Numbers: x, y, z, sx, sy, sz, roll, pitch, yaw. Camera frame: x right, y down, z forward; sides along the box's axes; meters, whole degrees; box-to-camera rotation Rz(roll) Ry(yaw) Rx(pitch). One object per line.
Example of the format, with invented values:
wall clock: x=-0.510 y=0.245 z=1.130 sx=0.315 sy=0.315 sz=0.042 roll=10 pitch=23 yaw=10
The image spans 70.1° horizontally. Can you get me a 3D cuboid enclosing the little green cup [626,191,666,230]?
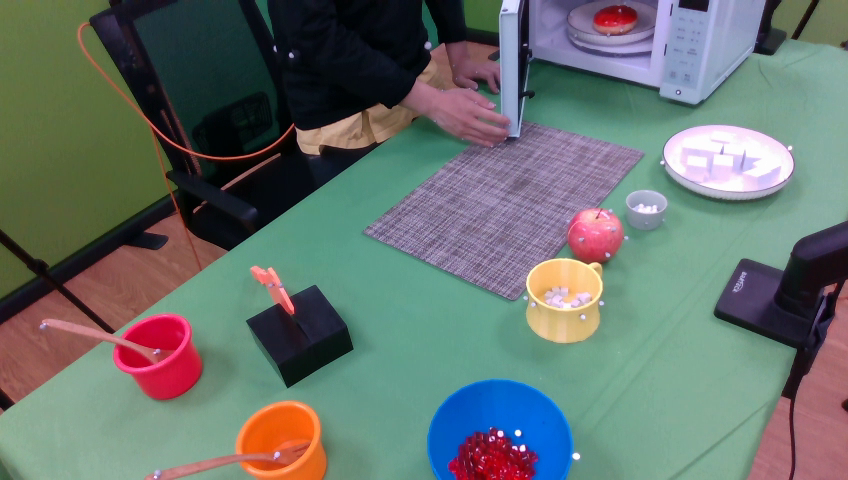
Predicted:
little green cup: x=0.352 y=-0.046 z=0.963 sx=0.061 sy=0.039 sz=0.061 roll=-4 pitch=40 yaw=4

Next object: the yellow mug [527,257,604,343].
yellow mug: x=0.201 y=0.072 z=0.825 sx=0.131 sy=0.064 sz=0.099 roll=-32 pitch=46 yaw=-27

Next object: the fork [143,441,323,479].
fork: x=-0.189 y=0.231 z=0.631 sx=0.028 sy=0.018 sz=0.209 roll=35 pitch=13 yaw=37

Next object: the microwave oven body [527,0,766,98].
microwave oven body: x=0.472 y=-0.513 z=1.317 sx=0.438 sy=0.261 sz=0.327 roll=25 pitch=51 yaw=34

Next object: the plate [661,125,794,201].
plate: x=0.513 y=-0.128 z=1.035 sx=0.207 sy=0.039 sz=0.206 roll=-4 pitch=40 yaw=4

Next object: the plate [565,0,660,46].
plate: x=0.427 y=-0.489 z=1.376 sx=0.209 sy=0.038 sz=0.208 roll=-5 pitch=40 yaw=4

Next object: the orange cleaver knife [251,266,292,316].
orange cleaver knife: x=-0.221 y=0.071 z=0.873 sx=0.012 sy=0.077 sz=0.210 roll=-25 pitch=11 yaw=-21

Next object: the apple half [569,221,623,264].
apple half: x=0.251 y=0.010 z=0.884 sx=0.081 sy=0.081 sz=0.032 roll=3 pitch=37 yaw=12

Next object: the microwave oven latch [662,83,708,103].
microwave oven latch: x=0.518 y=-0.296 z=1.204 sx=0.078 sy=0.029 sz=0.030 roll=27 pitch=52 yaw=35

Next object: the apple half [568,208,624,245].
apple half: x=0.259 y=-0.014 z=0.914 sx=0.080 sy=0.075 sz=0.053 roll=0 pitch=36 yaw=15

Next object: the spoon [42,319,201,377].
spoon: x=-0.385 y=0.135 z=0.779 sx=0.195 sy=0.021 sz=0.041 roll=28 pitch=36 yaw=-26

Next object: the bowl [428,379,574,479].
bowl: x=0.082 y=0.233 z=0.644 sx=0.151 sy=0.077 sz=0.150 roll=-4 pitch=40 yaw=4

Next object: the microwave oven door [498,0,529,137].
microwave oven door: x=0.185 y=-0.407 z=1.228 sx=0.039 sy=0.245 sz=0.355 roll=3 pitch=41 yaw=12

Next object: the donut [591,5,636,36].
donut: x=0.426 y=-0.497 z=1.365 sx=0.099 sy=0.048 sz=0.098 roll=-3 pitch=42 yaw=3
